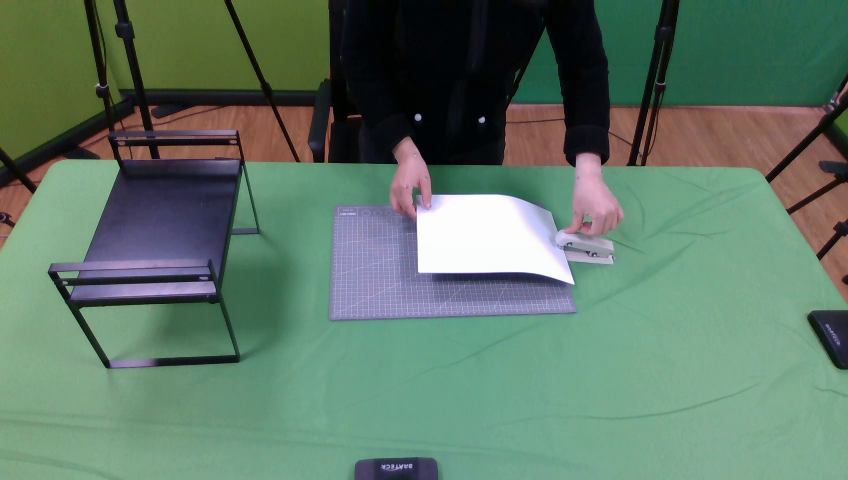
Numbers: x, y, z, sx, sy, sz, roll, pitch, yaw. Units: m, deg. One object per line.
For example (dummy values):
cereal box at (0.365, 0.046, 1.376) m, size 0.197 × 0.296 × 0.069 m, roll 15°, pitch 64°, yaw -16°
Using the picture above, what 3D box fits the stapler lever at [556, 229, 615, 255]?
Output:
stapler lever at (0.315, 0.003, 1.180) m, size 0.118 × 0.040 × 0.026 m, roll 6°, pitch 46°, yaw -3°

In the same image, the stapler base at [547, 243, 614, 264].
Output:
stapler base at (0.311, 0.022, 1.198) m, size 0.130 × 0.024 × 0.041 m, roll 5°, pitch 46°, yaw -3°
